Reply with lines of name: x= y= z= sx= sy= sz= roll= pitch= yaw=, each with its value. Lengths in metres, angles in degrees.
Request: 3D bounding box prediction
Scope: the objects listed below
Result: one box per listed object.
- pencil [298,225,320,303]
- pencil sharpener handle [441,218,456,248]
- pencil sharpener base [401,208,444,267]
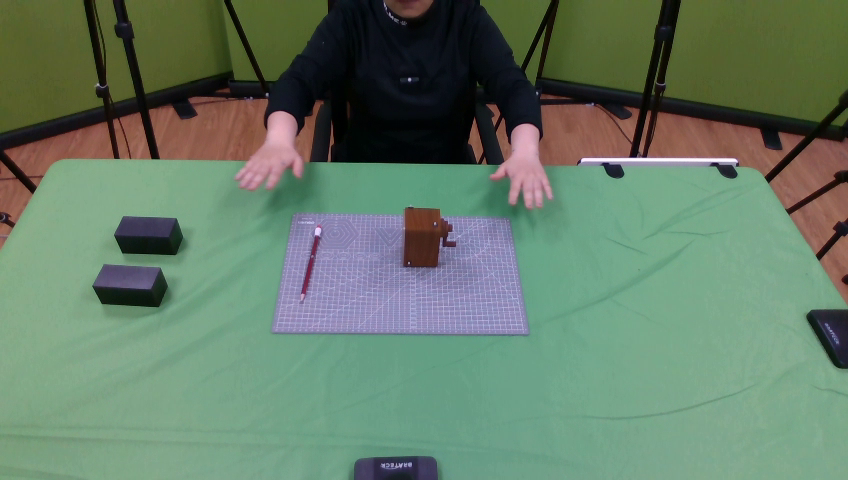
pencil: x=-0.217 y=0.043 z=1.144 sx=0.012 sy=0.012 sz=0.193 roll=5 pitch=47 yaw=0
pencil sharpener handle: x=0.047 y=-0.011 z=1.131 sx=0.031 sy=0.068 sz=0.036 roll=1 pitch=45 yaw=-3
pencil sharpener base: x=-0.005 y=-0.003 z=1.137 sx=0.077 sy=0.107 sz=0.061 roll=1 pitch=45 yaw=-4
